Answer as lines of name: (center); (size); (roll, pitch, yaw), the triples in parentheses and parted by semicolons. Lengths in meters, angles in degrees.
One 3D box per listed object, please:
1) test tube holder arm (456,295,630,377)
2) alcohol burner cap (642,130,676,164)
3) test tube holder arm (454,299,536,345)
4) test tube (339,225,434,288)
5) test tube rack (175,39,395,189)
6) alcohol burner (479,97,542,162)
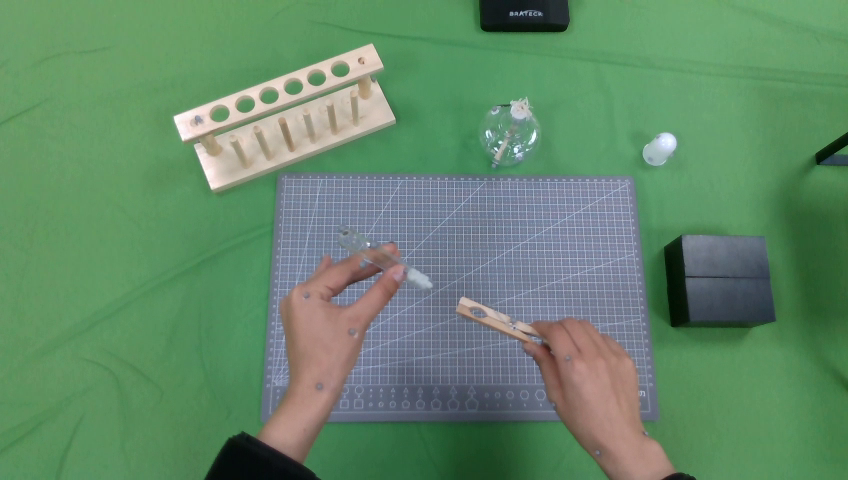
test tube holder arm: (0.114, 0.093, 0.591); (0.178, 0.015, 0.013); (21, 76, 9)
alcohol burner cap: (0.299, -0.120, 0.766); (0.034, 0.048, 0.033); (0, 74, -1)
test tube holder arm: (0.070, 0.081, 0.598); (0.087, 0.015, 0.010); (23, 76, 10)
test tube: (-0.026, 0.018, 0.510); (0.017, 0.151, 0.017); (-8, 69, 23)
test tube rack: (-0.159, -0.150, 0.729); (0.242, 0.085, 0.066); (-23, 76, -8)
alcohol burner: (0.107, -0.140, 0.725); (0.078, 0.119, 0.077); (1, 75, -3)
